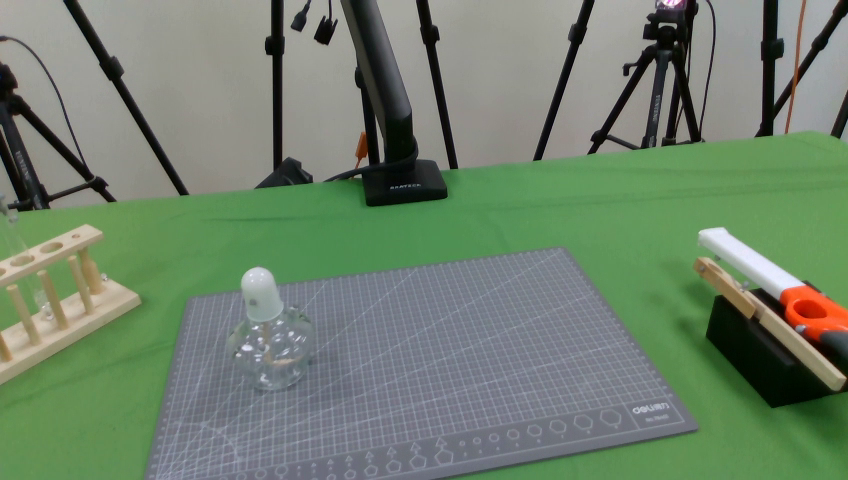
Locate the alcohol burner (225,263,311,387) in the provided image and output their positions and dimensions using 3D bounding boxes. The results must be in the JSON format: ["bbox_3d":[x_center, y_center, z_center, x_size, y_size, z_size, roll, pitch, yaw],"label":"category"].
[{"bbox_3d":[-0.143,0.073,0.549,0.078,0.120,0.077,-1,30,1],"label":"alcohol burner"}]

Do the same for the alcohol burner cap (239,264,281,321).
[{"bbox_3d":[-0.146,0.043,0.530,0.034,0.048,0.033,-2,36,2],"label":"alcohol burner cap"}]

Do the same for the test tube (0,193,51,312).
[{"bbox_3d":[-0.403,0.012,0.602,0.017,0.151,0.017,-1,34,1],"label":"test tube"}]

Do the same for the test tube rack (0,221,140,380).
[{"bbox_3d":[-0.416,0.077,0.592,0.066,0.086,0.242,19,37,30],"label":"test tube rack"}]

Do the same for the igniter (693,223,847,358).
[{"bbox_3d":[0.340,0.052,0.552,0.057,0.025,0.273,-8,29,-9],"label":"igniter"}]

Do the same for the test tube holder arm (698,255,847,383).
[{"bbox_3d":[0.301,0.063,0.542,0.013,0.015,0.176,-8,31,-15],"label":"test tube holder arm"}]

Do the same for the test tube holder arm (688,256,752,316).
[{"bbox_3d":[0.283,0.042,0.578,0.010,0.015,0.087,-8,31,-13],"label":"test tube holder arm"}]
